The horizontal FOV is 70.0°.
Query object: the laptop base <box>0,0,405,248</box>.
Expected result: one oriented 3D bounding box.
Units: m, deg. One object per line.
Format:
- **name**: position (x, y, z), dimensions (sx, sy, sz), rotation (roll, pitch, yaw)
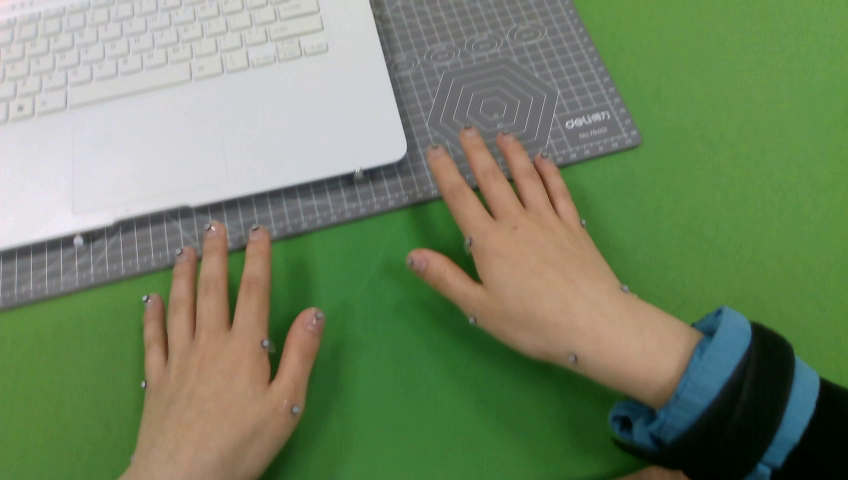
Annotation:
- **laptop base**: position (-0.207, -0.119, 0.453), dimensions (0.354, 0.023, 0.233), rotation (-13, 69, -3)
